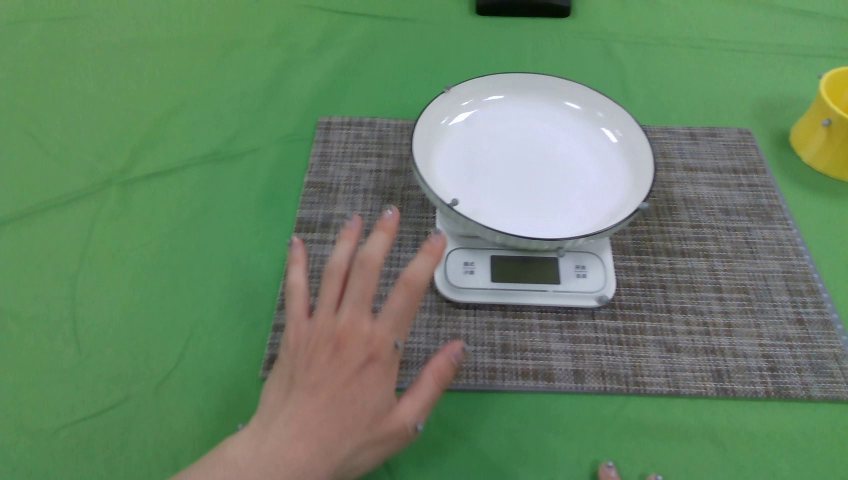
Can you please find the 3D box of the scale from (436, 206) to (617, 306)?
[{"bbox_3d":[0.088,-0.034,0.540,0.149,0.032,0.199,3,52,1],"label":"scale"}]

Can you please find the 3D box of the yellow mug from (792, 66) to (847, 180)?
[{"bbox_3d":[0.439,-0.106,0.586,0.100,0.064,0.129,-35,61,-25],"label":"yellow mug"}]

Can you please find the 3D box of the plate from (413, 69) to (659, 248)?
[{"bbox_3d":[0.094,-0.072,0.529,0.209,0.038,0.207,1,52,-1],"label":"plate"}]
